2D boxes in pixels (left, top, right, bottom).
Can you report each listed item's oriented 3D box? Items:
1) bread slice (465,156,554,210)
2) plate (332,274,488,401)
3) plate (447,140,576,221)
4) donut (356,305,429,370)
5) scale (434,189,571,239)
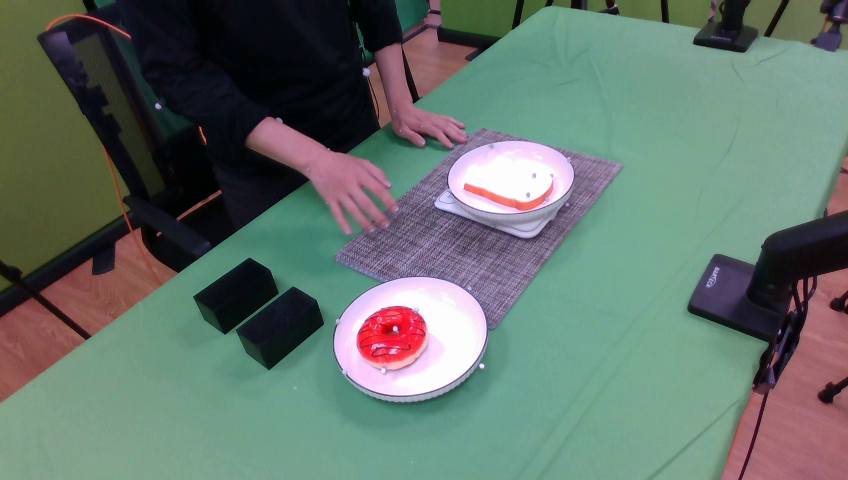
[{"bbox_3d":[0.149,-0.095,0.998,0.130,0.019,0.105,25,51,33],"label":"bread slice"},{"bbox_3d":[-0.017,0.130,0.808,0.207,0.039,0.206,-4,41,4],"label":"plate"},{"bbox_3d":[0.143,-0.094,0.995,0.209,0.038,0.208,-4,41,4],"label":"plate"},{"bbox_3d":[-0.041,0.127,0.798,0.099,0.048,0.098,-7,40,6],"label":"donut"},{"bbox_3d":[0.132,-0.075,1.025,0.199,0.032,0.149,22,48,30],"label":"scale"}]
